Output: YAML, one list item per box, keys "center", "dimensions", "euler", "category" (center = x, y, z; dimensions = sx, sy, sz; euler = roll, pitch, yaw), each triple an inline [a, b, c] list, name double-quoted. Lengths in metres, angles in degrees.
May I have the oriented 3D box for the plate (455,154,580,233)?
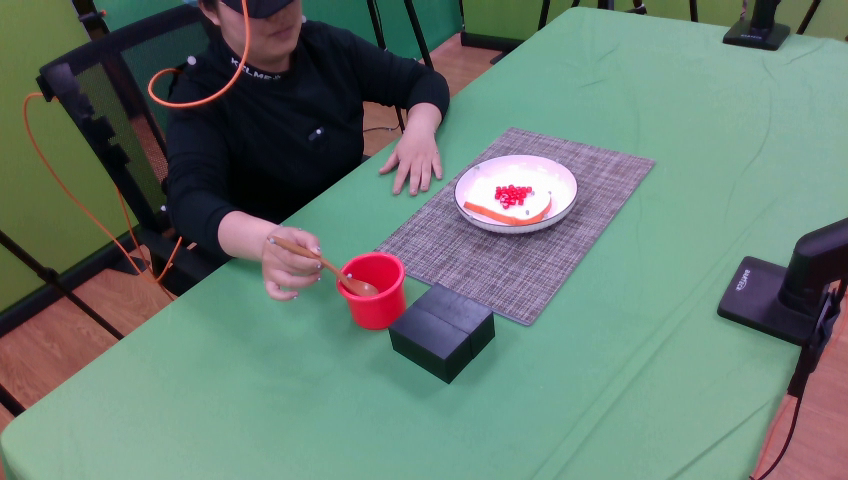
- center: [0.158, -0.076, 1.028]
  dimensions: [0.209, 0.038, 0.208]
  euler: [-5, 40, 5]
  category: "plate"

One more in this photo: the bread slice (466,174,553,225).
- center: [0.152, -0.067, 1.022]
  dimensions: [0.130, 0.019, 0.105]
  euler: [22, 50, 34]
  category: "bread slice"

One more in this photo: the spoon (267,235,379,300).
- center: [-0.132, 0.036, 0.817]
  dimensions: [0.021, 0.195, 0.041]
  euler: [-41, 41, 12]
  category: "spoon"
